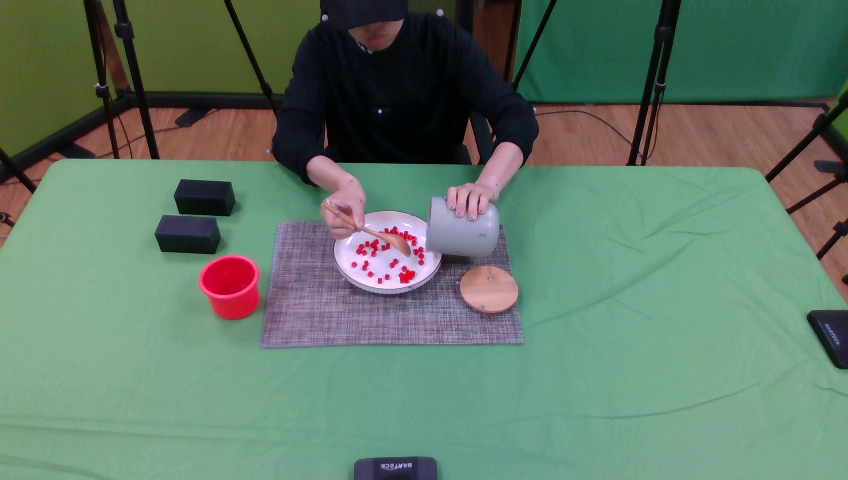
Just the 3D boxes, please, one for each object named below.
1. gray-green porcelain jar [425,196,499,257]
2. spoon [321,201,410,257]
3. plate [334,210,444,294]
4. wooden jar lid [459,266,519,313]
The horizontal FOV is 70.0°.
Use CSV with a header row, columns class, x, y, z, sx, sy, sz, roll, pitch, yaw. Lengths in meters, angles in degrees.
class,x,y,z,sx,sy,sz,roll,pitch,yaw
gray-green porcelain jar,0.070,-0.024,1.112,0.126,0.106,0.105,5,46,-3
spoon,-0.102,-0.019,1.094,0.194,0.021,0.041,26,36,-23
plate,-0.066,0.026,1.150,0.208,0.039,0.206,2,46,-2
wooden jar lid,0.118,0.093,1.111,0.108,0.021,0.107,1,47,-1
